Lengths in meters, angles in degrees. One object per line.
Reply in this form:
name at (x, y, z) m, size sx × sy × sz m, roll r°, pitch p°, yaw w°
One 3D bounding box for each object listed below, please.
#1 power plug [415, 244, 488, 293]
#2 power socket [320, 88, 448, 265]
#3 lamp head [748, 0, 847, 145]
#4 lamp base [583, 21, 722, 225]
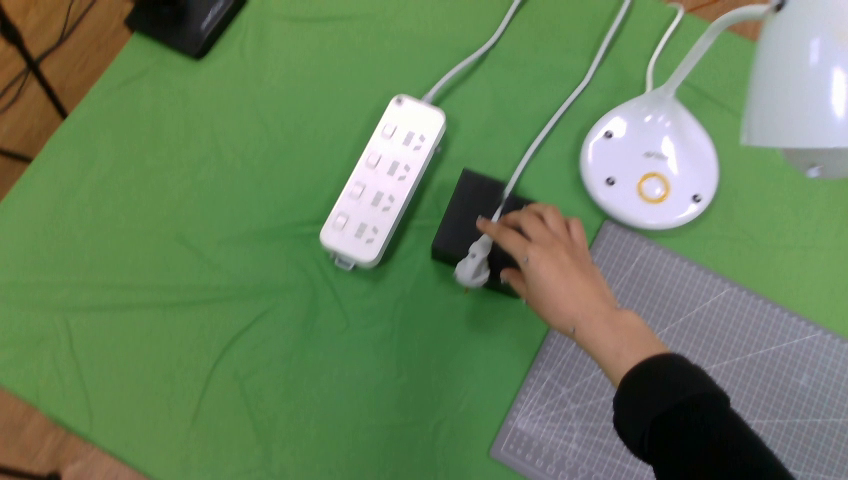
power plug at (0.029, 0.028, 0.621) m, size 0.072 × 0.035 × 0.053 m, roll 6°, pitch 118°, yaw 6°
power socket at (-0.043, -0.076, 0.698) m, size 0.072 × 0.033 × 0.226 m, roll 25°, pitch 75°, yaw 5°
lamp head at (0.249, -0.115, 0.346) m, size 0.112 × 0.112 × 0.123 m, roll -2°, pitch 97°, yaw -1°
lamp base at (0.266, -0.128, 0.640) m, size 0.161 × 0.181 × 0.178 m, roll 0°, pitch 71°, yaw 0°
